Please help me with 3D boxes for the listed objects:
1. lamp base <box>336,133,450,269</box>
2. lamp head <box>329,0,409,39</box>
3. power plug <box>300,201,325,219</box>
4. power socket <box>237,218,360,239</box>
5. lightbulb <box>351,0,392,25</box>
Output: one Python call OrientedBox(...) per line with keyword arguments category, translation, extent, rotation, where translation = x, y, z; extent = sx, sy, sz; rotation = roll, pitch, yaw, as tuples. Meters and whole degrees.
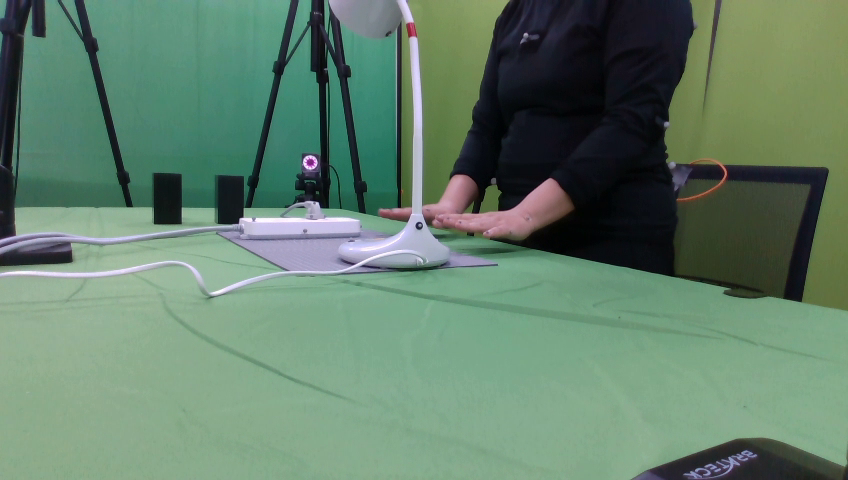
OrientedBox(category="lamp base", translation=(-0.032, -0.057, 0.830), extent=(0.161, 0.180, 0.178), rotation=(-2, 11, -34))
OrientedBox(category="lamp head", translation=(-0.062, -0.357, 0.842), extent=(0.113, 0.112, 0.122), rotation=(-1, -14, -29))
OrientedBox(category="power plug", translation=(-0.207, -0.046, 1.120), extent=(0.035, 0.052, 0.072), rotation=(2, 4, -22))
OrientedBox(category="power socket", translation=(-0.220, -0.023, 1.080), extent=(0.228, 0.032, 0.072), rotation=(-2, 7, -33))
OrientedBox(category="lightbulb", translation=(-0.070, -0.355, 0.866), extent=(0.060, 0.059, 0.107), rotation=(0, -20, -20))
